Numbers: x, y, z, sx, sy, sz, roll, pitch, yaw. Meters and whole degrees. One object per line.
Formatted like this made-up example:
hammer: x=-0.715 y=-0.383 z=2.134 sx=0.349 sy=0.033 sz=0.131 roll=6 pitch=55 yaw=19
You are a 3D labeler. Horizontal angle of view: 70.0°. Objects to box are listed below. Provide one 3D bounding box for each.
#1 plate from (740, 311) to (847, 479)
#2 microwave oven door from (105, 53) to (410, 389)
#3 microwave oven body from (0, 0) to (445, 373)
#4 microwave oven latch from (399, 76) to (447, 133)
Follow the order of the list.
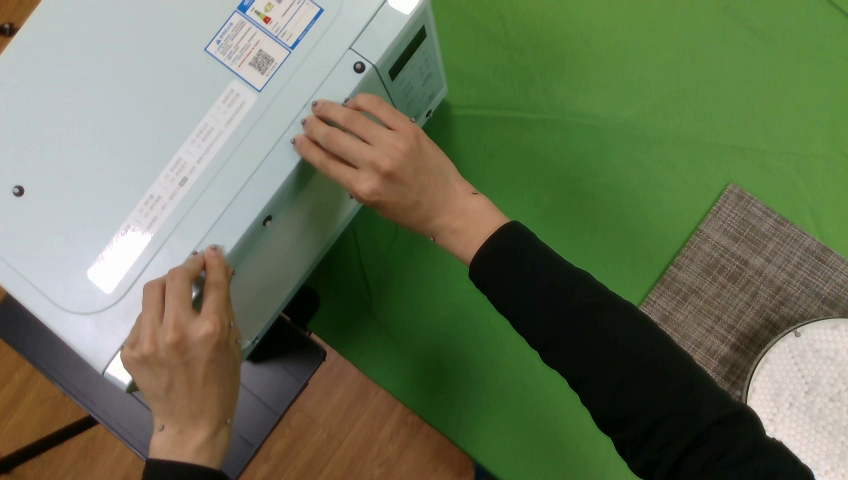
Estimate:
plate: x=0.458 y=0.183 z=0.674 sx=0.209 sy=0.038 sz=0.208 roll=-1 pitch=85 yaw=6
microwave oven door: x=-0.150 y=-0.007 z=0.637 sx=0.039 sy=0.244 sz=0.355 roll=37 pitch=89 yaw=9
microwave oven body: x=-0.239 y=-0.127 z=0.662 sx=0.325 sy=0.261 sz=0.441 roll=37 pitch=90 yaw=8
microwave oven latch: x=-0.004 y=-0.171 z=0.738 sx=0.030 sy=0.029 sz=0.079 roll=40 pitch=91 yaw=8
